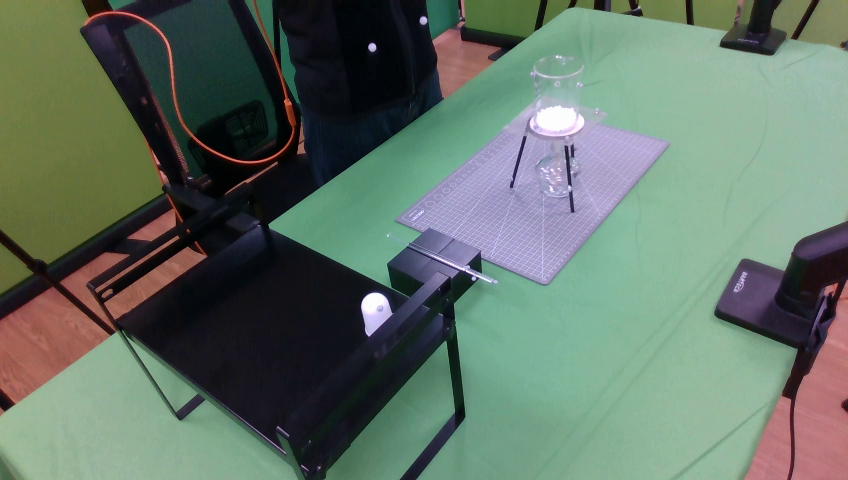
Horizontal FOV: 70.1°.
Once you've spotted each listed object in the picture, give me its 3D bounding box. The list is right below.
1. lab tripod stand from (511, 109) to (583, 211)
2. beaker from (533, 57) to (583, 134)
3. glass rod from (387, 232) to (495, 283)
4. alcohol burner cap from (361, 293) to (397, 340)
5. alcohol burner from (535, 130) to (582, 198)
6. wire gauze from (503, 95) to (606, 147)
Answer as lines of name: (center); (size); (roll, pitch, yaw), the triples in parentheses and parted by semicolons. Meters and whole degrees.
lab tripod stand: (0.220, -0.138, 1.014); (0.148, 0.132, 0.147); (-3, 41, 3)
beaker: (0.208, -0.225, 0.941); (0.073, 0.101, 0.084); (11, 44, 20)
glass rod: (0.020, 0.025, 0.880); (0.198, 0.008, 0.008); (23, 49, 32)
alcohol burner cap: (-0.046, 0.073, 0.601); (0.034, 0.048, 0.033); (-5, 42, 5)
alcohol burner: (0.227, -0.132, 1.021); (0.078, 0.119, 0.077); (-6, 40, 5)
wire gauze: (0.212, -0.191, 0.976); (0.120, 0.011, 0.125); (24, 52, 33)
